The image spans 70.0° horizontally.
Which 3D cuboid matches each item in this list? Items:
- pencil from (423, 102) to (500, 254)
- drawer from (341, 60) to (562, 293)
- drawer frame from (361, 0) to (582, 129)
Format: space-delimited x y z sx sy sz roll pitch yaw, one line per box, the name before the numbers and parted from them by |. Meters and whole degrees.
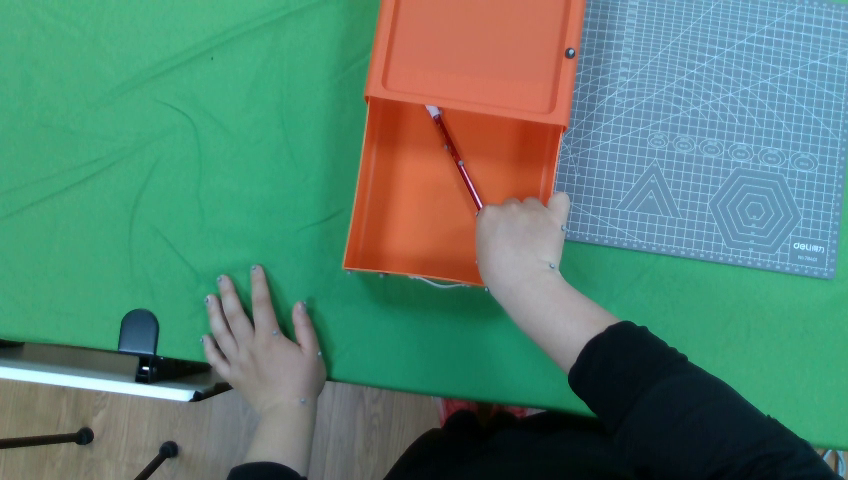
pencil | 0.039 -0.074 0.637 0.012 0.012 0.194 -25 89 -1
drawer | 0.031 -0.060 0.612 0.194 0.073 0.211 8 88 2
drawer frame | 0.053 -0.223 0.618 0.201 0.083 0.213 8 85 2
